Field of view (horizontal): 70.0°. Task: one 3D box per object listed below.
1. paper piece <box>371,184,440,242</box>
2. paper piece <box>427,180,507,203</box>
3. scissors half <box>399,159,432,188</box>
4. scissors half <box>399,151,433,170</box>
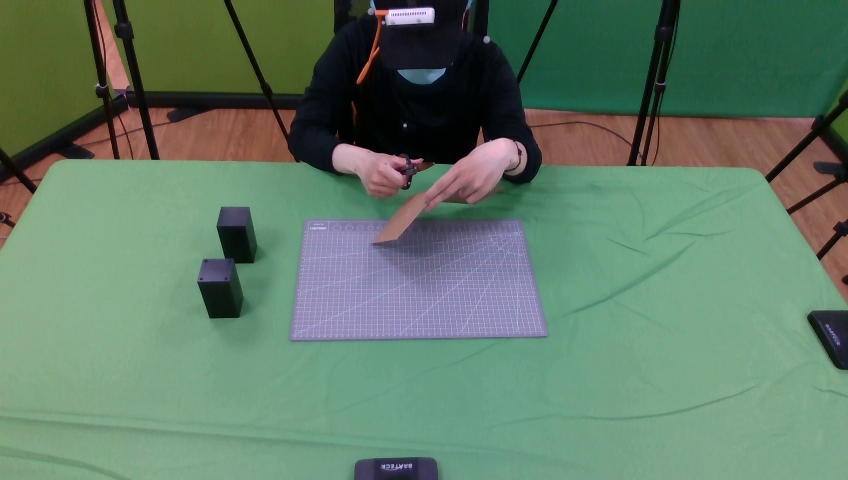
[{"bbox_3d":[-0.038,-0.051,1.151,0.004,0.135,0.135,44,71,-16],"label":"paper piece"},{"bbox_3d":[0.074,-0.095,1.195,0.138,0.136,0.008,-1,79,-20],"label":"paper piece"},{"bbox_3d":[-0.016,-0.131,1.162,0.013,0.175,0.040,-3,82,-20],"label":"scissors half"},{"bbox_3d":[-0.017,-0.151,1.162,0.013,0.040,0.174,-8,11,-21],"label":"scissors half"}]
